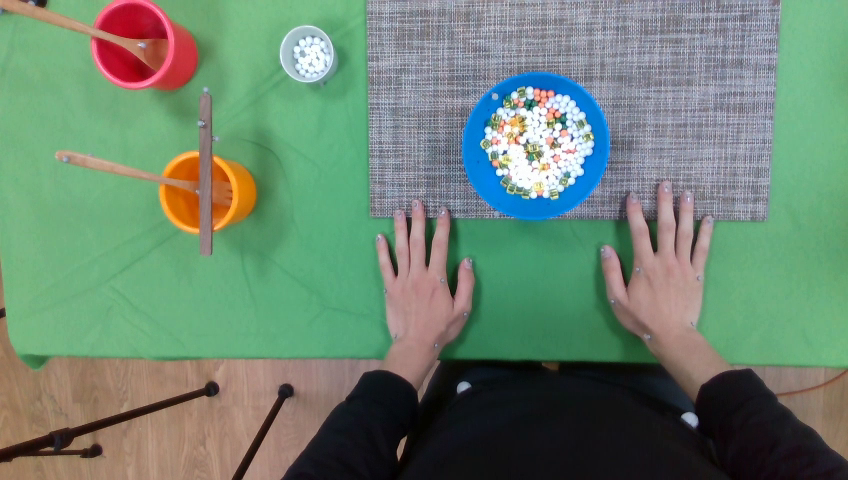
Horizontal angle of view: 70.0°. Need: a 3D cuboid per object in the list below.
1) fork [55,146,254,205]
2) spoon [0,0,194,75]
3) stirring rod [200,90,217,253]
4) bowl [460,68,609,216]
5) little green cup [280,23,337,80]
[{"bbox_3d":[-0.289,-0.071,0.671,0.209,0.018,0.028,13,103,-39],"label":"fork"},{"bbox_3d":[-0.352,-0.228,0.662,0.195,0.021,0.041,13,99,-39],"label":"spoon"},{"bbox_3d":[-0.236,-0.073,0.662,0.014,0.006,0.176,2,97,8],"label":"stirring rod"},{"bbox_3d":[0.117,-0.103,0.656,0.151,0.077,0.151,1,97,6],"label":"bowl"},{"bbox_3d":[-0.129,-0.212,0.692,0.061,0.038,0.061,1,97,7],"label":"little green cup"}]
